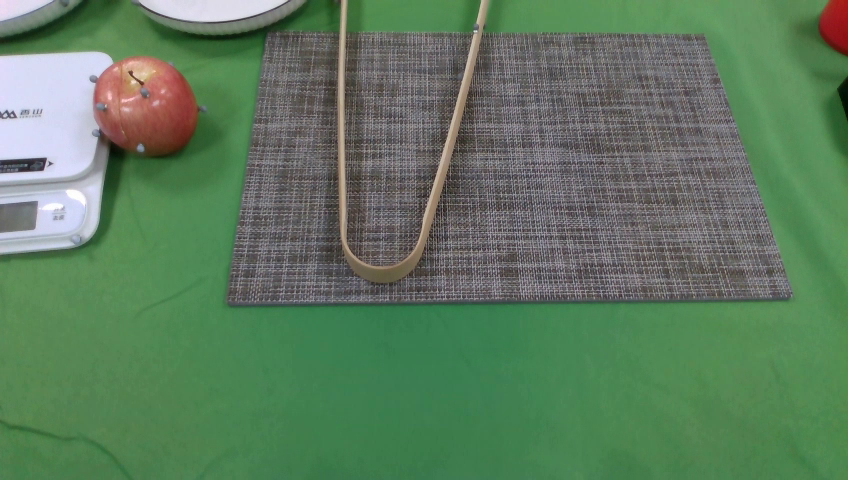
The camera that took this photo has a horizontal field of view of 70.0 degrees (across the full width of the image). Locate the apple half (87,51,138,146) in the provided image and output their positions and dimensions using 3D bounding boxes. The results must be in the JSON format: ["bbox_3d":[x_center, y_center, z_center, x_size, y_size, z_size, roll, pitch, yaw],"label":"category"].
[{"bbox_3d":[-0.263,-0.114,0.512,0.033,0.082,0.080,-8,62,-10],"label":"apple half"}]

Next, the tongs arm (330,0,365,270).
[{"bbox_3d":[-0.072,-0.149,0.560,0.028,0.028,0.384,-1,62,-7],"label":"tongs arm"}]

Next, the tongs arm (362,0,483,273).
[{"bbox_3d":[0.012,-0.142,0.557,0.051,0.027,0.382,10,62,3],"label":"tongs arm"}]

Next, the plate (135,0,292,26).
[{"bbox_3d":[-0.209,-0.294,0.633,0.209,0.038,0.207,1,61,-1],"label":"plate"}]

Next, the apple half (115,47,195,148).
[{"bbox_3d":[-0.225,-0.121,0.518,0.053,0.075,0.080,-8,58,-9],"label":"apple half"}]

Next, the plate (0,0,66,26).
[{"bbox_3d":[-0.434,-0.288,0.622,0.208,0.039,0.206,1,62,-1],"label":"plate"}]

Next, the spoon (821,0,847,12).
[{"bbox_3d":[0.490,-0.253,0.573,0.022,0.192,0.041,51,57,-26],"label":"spoon"}]

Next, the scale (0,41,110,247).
[{"bbox_3d":[-0.349,-0.087,0.518,0.149,0.032,0.199,-5,62,-4],"label":"scale"}]
